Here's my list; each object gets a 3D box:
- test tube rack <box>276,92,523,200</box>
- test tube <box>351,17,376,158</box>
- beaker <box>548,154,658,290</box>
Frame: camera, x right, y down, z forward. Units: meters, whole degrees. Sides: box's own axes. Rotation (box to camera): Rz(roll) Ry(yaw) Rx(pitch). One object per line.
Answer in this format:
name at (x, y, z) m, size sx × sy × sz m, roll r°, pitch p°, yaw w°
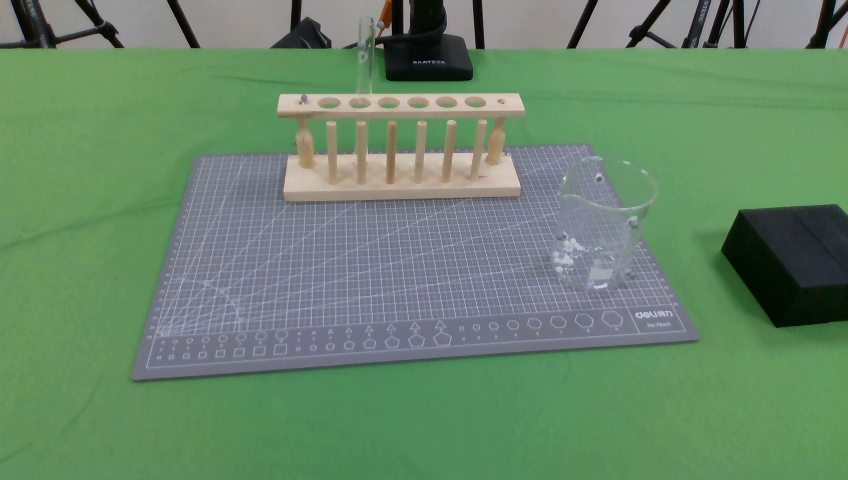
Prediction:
test tube rack at (-0.023, -0.097, 0.619) m, size 0.243 × 0.086 × 0.066 m, roll -2°, pitch 42°, yaw -6°
test tube at (-0.061, -0.144, 0.595) m, size 0.017 × 0.151 × 0.017 m, roll 6°, pitch 41°, yaw -4°
beaker at (0.147, -0.012, 0.526) m, size 0.084 × 0.101 × 0.073 m, roll -8°, pitch 43°, yaw -11°
